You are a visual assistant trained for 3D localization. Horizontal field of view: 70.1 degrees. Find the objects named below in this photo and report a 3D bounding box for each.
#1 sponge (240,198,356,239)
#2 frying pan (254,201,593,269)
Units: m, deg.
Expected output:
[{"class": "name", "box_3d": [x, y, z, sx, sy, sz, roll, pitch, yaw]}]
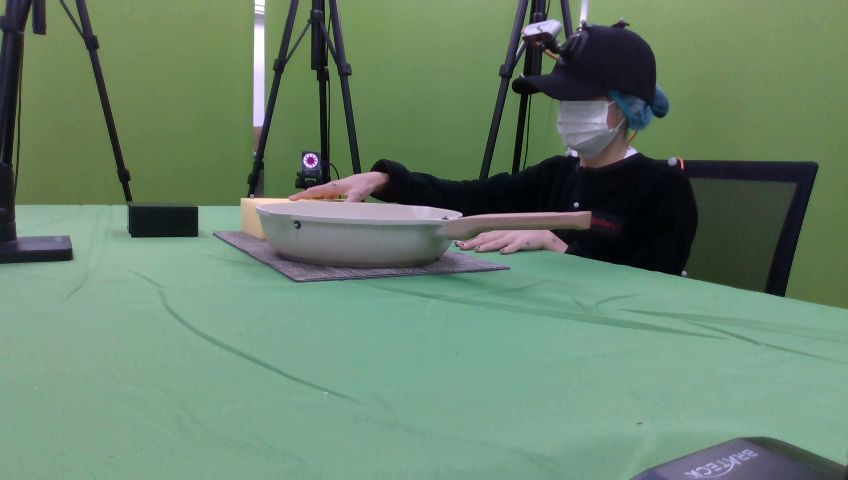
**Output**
[{"class": "sponge", "box_3d": [-0.211, -0.040, 1.079, 0.208, 0.061, 0.117, -2, 8, -34]}, {"class": "frying pan", "box_3d": [-0.011, -0.016, 0.802, 0.485, 0.102, 0.308, -2, 4, 39]}]
